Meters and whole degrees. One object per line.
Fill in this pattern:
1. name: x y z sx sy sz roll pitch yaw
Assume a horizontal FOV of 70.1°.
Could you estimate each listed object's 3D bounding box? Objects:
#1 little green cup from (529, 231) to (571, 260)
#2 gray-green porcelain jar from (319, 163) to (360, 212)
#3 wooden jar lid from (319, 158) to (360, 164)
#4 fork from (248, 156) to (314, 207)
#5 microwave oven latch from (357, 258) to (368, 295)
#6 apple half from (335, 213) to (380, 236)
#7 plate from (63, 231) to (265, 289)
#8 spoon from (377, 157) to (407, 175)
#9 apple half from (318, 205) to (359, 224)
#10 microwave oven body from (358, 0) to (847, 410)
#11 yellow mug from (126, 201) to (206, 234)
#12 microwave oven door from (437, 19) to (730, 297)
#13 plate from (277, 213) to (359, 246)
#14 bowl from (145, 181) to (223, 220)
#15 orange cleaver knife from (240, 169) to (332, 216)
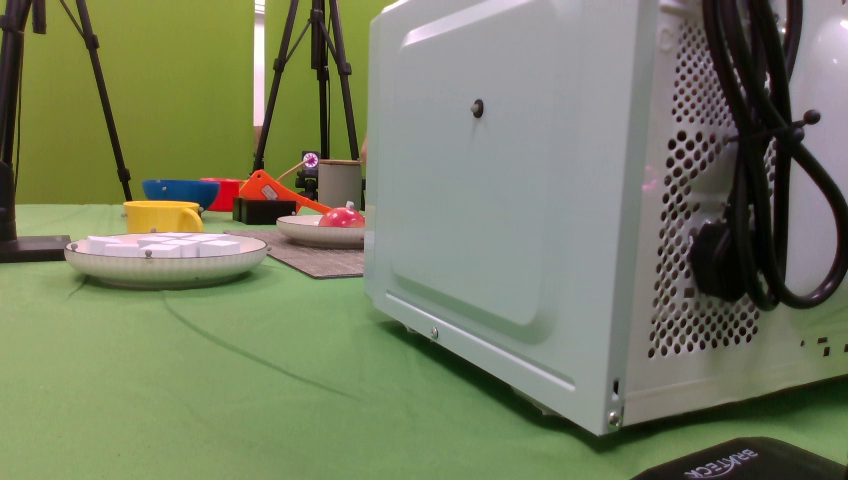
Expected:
1. little green cup: 0.184 0.008 0.879 0.061 0.038 0.061 -4 2 1
2. gray-green porcelain jar: -0.204 -0.126 1.490 0.106 0.126 0.106 2 7 0
3. wooden jar lid: -0.203 -0.189 1.482 0.108 0.020 0.108 2 10 0
4. fork: -0.360 -0.147 1.523 0.207 0.019 0.028 -43 16 -7
5. microwave oven latch: -0.019 0.031 0.529 0.079 0.029 0.030 -1 7 -26
6. apple half: -0.112 -0.029 1.034 0.081 0.033 0.081 0 10 0
7. plate: -0.288 0.021 0.687 0.208 0.039 0.207 2 8 0
8. spoon: -0.060 -0.132 1.045 0.042 0.021 0.193 27 7 -16
9. apple half: -0.126 -0.028 0.954 0.081 0.053 0.074 -2 10 -33
10. microwave oven body: 0.210 -0.051 0.471 0.444 0.260 0.324 -1 7 -28
11. yellow mug: -0.360 -0.019 0.866 0.130 0.064 0.100 6 9 27
12. microwave oven door: 0.181 -0.076 0.618 0.358 0.243 0.039 -2 9 -28
13. plate: -0.135 -0.018 0.993 0.209 0.038 0.209 2 7 0
14. bowl: -0.499 -0.081 1.261 0.151 0.077 0.151 2 7 0
15. orange cleaver knife: -0.286 -0.082 1.298 0.212 0.077 0.012 25 -2 -31
